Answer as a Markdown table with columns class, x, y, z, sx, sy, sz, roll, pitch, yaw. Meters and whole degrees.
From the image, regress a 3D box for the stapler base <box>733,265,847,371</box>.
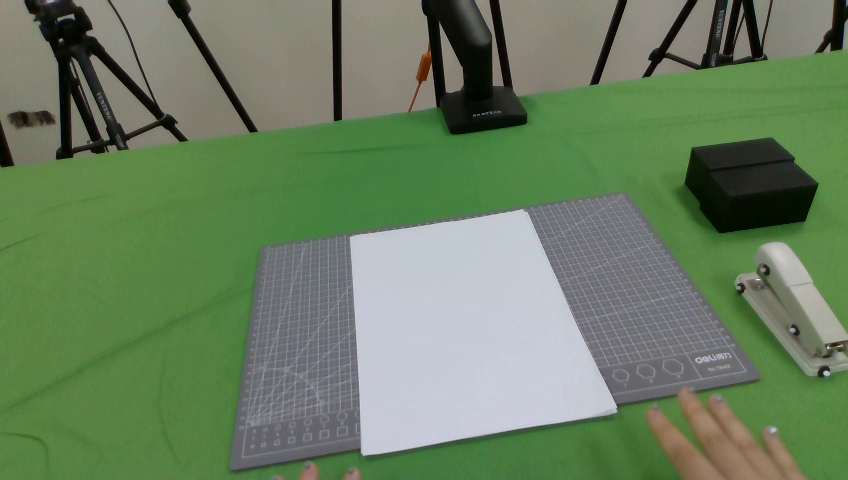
| class | x | y | z | sx | sy | sz | roll | pitch | yaw |
| --- | --- | --- | --- | --- | --- | --- | --- | --- | --- |
| stapler base | 0.337 | 0.062 | 0.558 | 0.041 | 0.025 | 0.129 | -10 | 40 | -3 |

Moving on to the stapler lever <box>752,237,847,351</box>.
| class | x | y | z | sx | sy | sz | roll | pitch | yaw |
| --- | --- | --- | --- | --- | --- | --- | --- | --- | --- |
| stapler lever | 0.335 | 0.044 | 0.541 | 0.027 | 0.040 | 0.117 | -10 | 40 | -2 |
